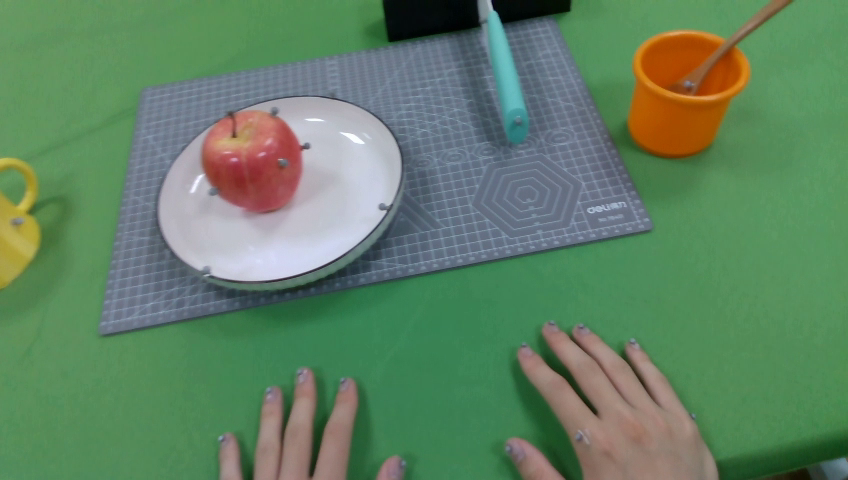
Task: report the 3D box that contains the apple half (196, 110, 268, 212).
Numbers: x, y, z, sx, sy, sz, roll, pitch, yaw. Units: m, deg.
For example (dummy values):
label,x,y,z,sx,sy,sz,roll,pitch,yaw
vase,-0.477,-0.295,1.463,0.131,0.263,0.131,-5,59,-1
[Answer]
label,x,y,z,sx,sy,sz,roll,pitch,yaw
apple half,-0.159,-0.064,0.507,0.053,0.075,0.080,-2,58,10

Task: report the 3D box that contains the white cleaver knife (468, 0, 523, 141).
label,x,y,z,sx,sy,sz,roll,pitch,yaw
white cleaver knife,0.060,-0.217,0.605,0.021,0.066,0.284,-9,65,1

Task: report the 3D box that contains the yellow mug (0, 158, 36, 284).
label,x,y,z,sx,sy,sz,roll,pitch,yaw
yellow mug,-0.389,-0.018,0.516,0.099,0.064,0.130,19,58,18

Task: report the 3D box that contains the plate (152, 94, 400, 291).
label,x,y,z,sx,sy,sz,roll,pitch,yaw
plate,-0.123,-0.042,0.520,0.209,0.038,0.207,-2,55,4

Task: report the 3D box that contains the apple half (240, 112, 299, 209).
label,x,y,z,sx,sy,sz,roll,pitch,yaw
apple half,-0.120,-0.065,0.503,0.033,0.082,0.080,-4,54,10

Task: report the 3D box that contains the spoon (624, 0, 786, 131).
label,x,y,z,sx,sy,sz,roll,pitch,yaw
spoon,0.248,-0.160,0.502,0.022,0.194,0.041,18,41,-37
